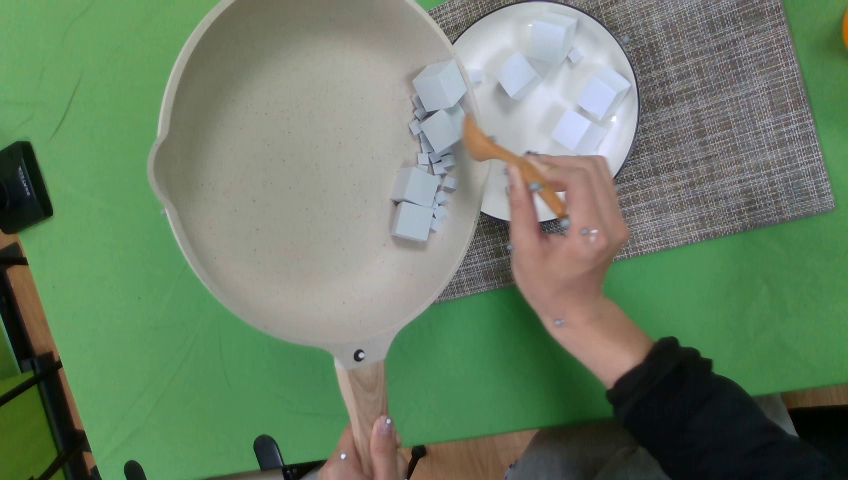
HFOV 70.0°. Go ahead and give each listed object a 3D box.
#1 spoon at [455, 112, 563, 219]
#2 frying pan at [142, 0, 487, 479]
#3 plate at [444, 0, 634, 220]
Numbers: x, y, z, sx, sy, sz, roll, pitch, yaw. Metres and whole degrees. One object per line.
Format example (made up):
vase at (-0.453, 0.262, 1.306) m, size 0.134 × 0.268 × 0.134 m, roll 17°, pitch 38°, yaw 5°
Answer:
spoon at (0.057, -0.058, 0.444) m, size 0.021 × 0.192 × 0.042 m, roll -21°, pitch 118°, yaw -10°
frying pan at (-0.063, 0.043, 0.501) m, size 0.102 × 0.308 × 0.488 m, roll -4°, pitch 93°, yaw 51°
plate at (0.098, -0.124, 0.591) m, size 0.206 × 0.039 × 0.208 m, roll 4°, pitch 101°, yaw 23°
